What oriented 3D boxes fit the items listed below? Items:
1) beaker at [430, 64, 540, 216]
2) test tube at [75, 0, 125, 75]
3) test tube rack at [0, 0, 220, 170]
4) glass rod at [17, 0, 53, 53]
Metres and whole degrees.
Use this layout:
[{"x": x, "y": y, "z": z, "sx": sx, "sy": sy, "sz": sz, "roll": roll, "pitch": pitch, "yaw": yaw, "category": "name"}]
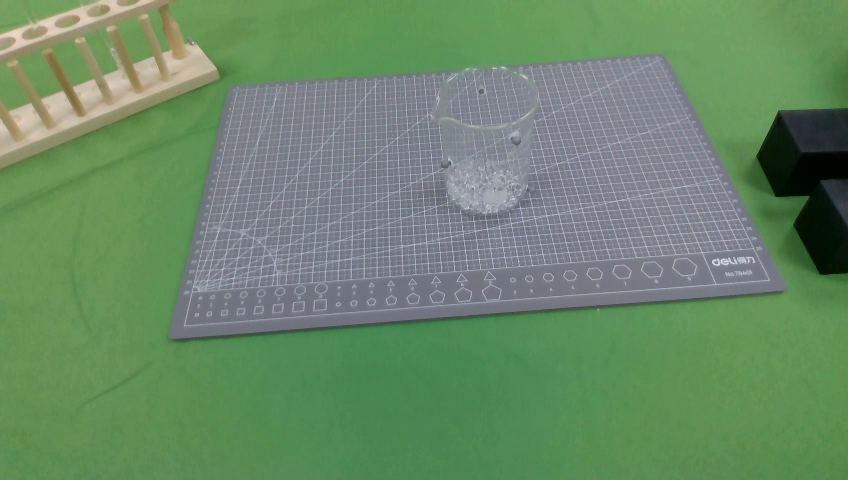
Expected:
[{"x": 0.046, "y": -0.073, "z": 0.479, "sx": 0.084, "sy": 0.101, "sz": 0.073, "roll": -20, "pitch": 52, "yaw": -11, "category": "beaker"}, {"x": -0.313, "y": -0.218, "z": 0.565, "sx": 0.017, "sy": 0.151, "sz": 0.017, "roll": -3, "pitch": 53, "yaw": 4, "category": "test tube"}, {"x": -0.334, "y": -0.158, "z": 0.581, "sx": 0.242, "sy": 0.086, "sz": 0.066, "roll": -29, "pitch": 55, "yaw": -20, "category": "test tube rack"}, {"x": -0.348, "y": -0.199, "z": 0.529, "sx": 0.008, "sy": 0.201, "sz": 0.008, "roll": 1, "pitch": 52, "yaw": -1, "category": "glass rod"}]
